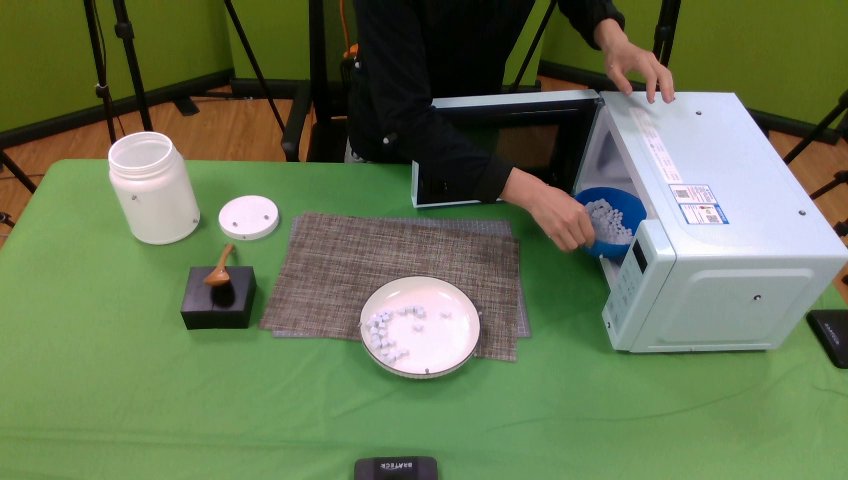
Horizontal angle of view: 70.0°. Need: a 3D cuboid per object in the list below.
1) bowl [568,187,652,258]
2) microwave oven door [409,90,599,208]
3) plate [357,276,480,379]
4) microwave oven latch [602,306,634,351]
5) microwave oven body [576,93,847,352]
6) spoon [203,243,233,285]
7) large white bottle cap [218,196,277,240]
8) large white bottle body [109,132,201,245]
[{"bbox_3d":[0.333,-0.019,1.111,0.151,0.077,0.150,1,47,-1],"label":"bowl"},{"bbox_3d":[0.153,-0.179,1.210,0.356,0.245,0.039,-6,46,-11],"label":"microwave oven door"},{"bbox_3d":[-0.009,0.151,1.038,0.209,0.038,0.208,2,47,-2],"label":"plate"},{"bbox_3d":[0.332,0.152,1.044,0.030,0.029,0.078,0,45,-3],"label":"microwave oven latch"},{"bbox_3d":[0.475,-0.042,1.109,0.326,0.261,0.438,-1,45,-4],"label":"microwave oven body"},{"bbox_3d":[-0.360,0.039,1.087,0.041,0.022,0.192,-5,24,-7],"label":"spoon"},{"bbox_3d":[-0.354,-0.045,1.220,0.115,0.018,0.114,2,46,-2],"label":"large white bottle cap"},{"bbox_3d":[-0.506,-0.097,1.141,0.131,0.185,0.130,2,46,-2],"label":"large white bottle body"}]
